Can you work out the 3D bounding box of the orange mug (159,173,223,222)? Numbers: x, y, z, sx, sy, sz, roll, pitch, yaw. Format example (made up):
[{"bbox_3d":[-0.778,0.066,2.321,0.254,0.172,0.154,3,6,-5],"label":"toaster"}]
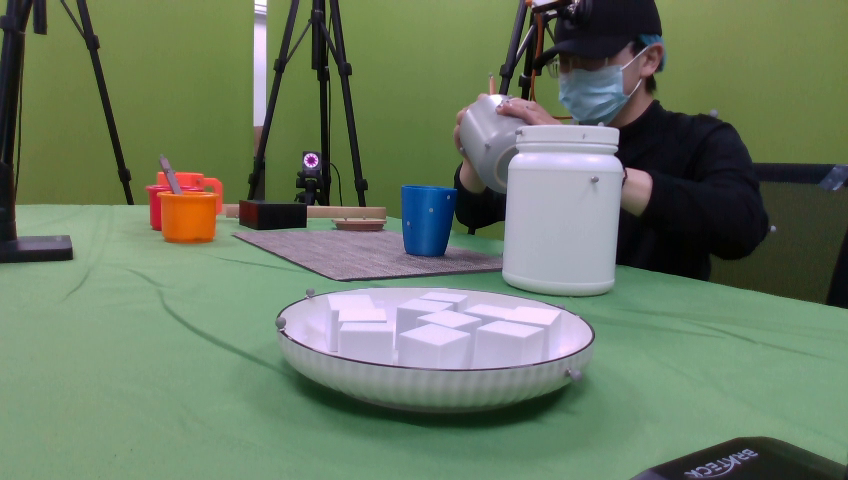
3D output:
[{"bbox_3d":[-0.477,-0.089,1.241,0.127,0.101,0.083,-7,11,-33],"label":"orange mug"}]

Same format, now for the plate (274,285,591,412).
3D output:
[{"bbox_3d":[0.005,0.069,0.408,0.208,0.039,0.207,2,7,0],"label":"plate"}]

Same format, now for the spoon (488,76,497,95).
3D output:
[{"bbox_3d":[0.109,-0.176,0.912,0.021,0.193,0.042,-11,-34,22],"label":"spoon"}]

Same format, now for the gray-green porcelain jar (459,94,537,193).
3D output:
[{"bbox_3d":[0.115,-0.135,0.863,0.106,0.106,0.126,1,36,-15],"label":"gray-green porcelain jar"}]

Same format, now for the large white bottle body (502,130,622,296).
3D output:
[{"bbox_3d":[0.160,-0.037,0.706,0.131,0.184,0.130,2,7,0],"label":"large white bottle body"}]

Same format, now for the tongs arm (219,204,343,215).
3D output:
[{"bbox_3d":[-0.288,-0.069,1.435,0.389,0.027,0.028,0,-1,-17],"label":"tongs arm"}]

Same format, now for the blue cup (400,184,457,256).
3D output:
[{"bbox_3d":[0.004,-0.030,0.901,0.093,0.100,0.092,4,9,0],"label":"blue cup"}]

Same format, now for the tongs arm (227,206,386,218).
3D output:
[{"bbox_3d":[-0.251,-0.063,1.360,0.387,0.026,0.050,-1,3,-31],"label":"tongs arm"}]

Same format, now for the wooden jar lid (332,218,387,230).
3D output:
[{"bbox_3d":[-0.129,-0.032,1.204,0.108,0.020,0.108,0,5,0],"label":"wooden jar lid"}]

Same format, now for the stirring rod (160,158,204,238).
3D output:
[{"bbox_3d":[-0.390,-0.070,0.972,0.014,0.006,0.175,-2,50,-49],"label":"stirring rod"}]

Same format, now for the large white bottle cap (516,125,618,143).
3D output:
[{"bbox_3d":[0.164,-0.120,0.695,0.115,0.018,0.115,2,8,0],"label":"large white bottle cap"}]
